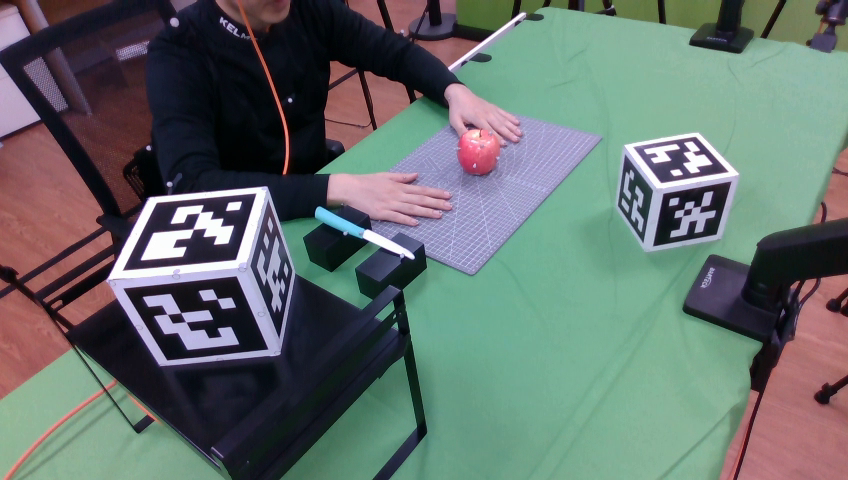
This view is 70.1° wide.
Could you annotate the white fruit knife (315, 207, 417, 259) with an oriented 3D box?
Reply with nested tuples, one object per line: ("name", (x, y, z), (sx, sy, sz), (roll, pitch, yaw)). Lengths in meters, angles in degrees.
("white fruit knife", (-0.094, -0.010, 0.925), (0.206, 0.016, 0.027), (23, 40, 30))

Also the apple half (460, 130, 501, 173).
("apple half", (0.109, -0.166, 1.107), (0.080, 0.075, 0.053), (18, 42, 33))

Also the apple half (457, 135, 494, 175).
("apple half", (0.086, -0.145, 1.083), (0.080, 0.081, 0.033), (22, 44, 30))
